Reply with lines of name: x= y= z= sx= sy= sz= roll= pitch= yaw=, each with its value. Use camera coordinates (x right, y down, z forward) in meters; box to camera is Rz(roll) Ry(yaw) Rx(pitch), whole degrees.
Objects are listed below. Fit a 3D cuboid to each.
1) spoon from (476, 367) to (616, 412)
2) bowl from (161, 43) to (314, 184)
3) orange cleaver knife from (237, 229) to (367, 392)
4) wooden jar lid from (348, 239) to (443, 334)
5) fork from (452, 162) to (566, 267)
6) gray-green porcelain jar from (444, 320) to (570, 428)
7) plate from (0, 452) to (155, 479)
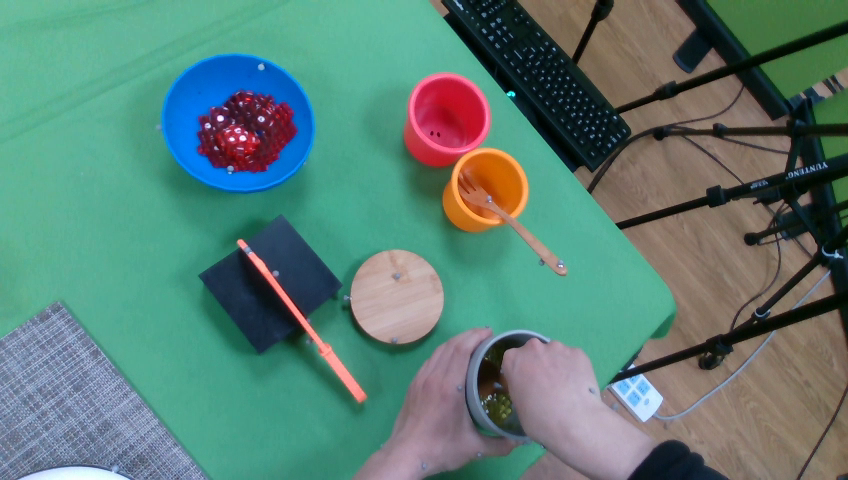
spoon: x=0.110 y=0.157 z=0.612 sx=0.022 sy=0.193 sz=0.041 roll=0 pitch=86 yaw=-34
bowl: x=-0.197 y=-0.125 z=0.655 sx=0.152 sy=0.077 sz=0.150 roll=3 pitch=79 yaw=-14
orange cleaver knife: x=-0.126 y=0.076 z=0.633 sx=0.012 sy=0.076 sz=0.213 roll=-39 pitch=114 yaw=-15
wooden jar lid: x=-0.033 y=0.054 z=0.694 sx=0.109 sy=0.021 sz=0.108 roll=2 pitch=80 yaw=-13
fork: x=0.091 y=-0.033 z=0.674 sx=0.028 sy=0.019 sz=0.205 roll=-24 pitch=43 yaw=-18
gray-green porcelain jar: x=0.082 y=0.142 z=0.651 sx=0.106 sy=0.126 sz=0.105 roll=3 pitch=78 yaw=-13
plate: x=-0.329 y=0.302 z=0.557 sx=0.210 sy=0.038 sz=0.208 roll=3 pitch=79 yaw=-14
